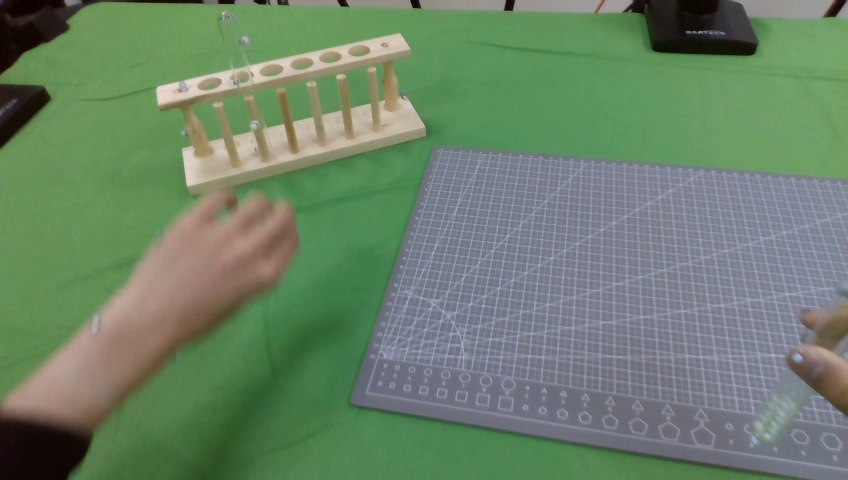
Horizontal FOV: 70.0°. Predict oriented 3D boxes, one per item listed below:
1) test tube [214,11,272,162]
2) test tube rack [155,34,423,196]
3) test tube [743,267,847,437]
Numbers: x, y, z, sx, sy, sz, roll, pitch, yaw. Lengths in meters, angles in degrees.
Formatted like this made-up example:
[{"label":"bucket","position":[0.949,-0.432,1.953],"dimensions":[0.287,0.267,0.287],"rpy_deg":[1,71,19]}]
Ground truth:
[{"label":"test tube","position":[-0.163,-0.134,0.552],"dimensions":[0.017,0.152,0.017],"rpy_deg":[-2,45,2]},{"label":"test tube rack","position":[-0.128,-0.127,0.605],"dimensions":[0.243,0.086,0.066],"rpy_deg":[-17,47,-12]},{"label":"test tube","position":[0.173,0.050,0.271],"dimensions":[0.017,0.151,0.017],"rpy_deg":[-2,48,3]}]
